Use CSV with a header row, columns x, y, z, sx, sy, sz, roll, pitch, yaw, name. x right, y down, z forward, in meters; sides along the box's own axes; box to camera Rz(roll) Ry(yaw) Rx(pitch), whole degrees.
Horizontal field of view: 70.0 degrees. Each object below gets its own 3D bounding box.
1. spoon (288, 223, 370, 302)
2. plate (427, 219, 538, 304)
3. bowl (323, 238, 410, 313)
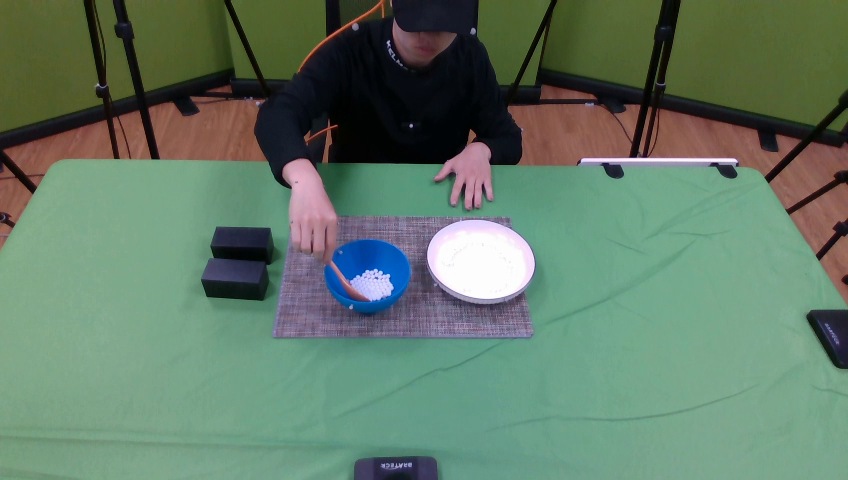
x,y,z,sx,sy,sz,roll,pitch,yaw,name
-0.162,0.042,1.034,0.021,0.041,0.194,-43,97,-22,spoon
0.109,0.044,1.149,0.208,0.039,0.206,2,46,-2,plate
-0.101,0.077,1.073,0.151,0.077,0.150,2,46,-2,bowl
